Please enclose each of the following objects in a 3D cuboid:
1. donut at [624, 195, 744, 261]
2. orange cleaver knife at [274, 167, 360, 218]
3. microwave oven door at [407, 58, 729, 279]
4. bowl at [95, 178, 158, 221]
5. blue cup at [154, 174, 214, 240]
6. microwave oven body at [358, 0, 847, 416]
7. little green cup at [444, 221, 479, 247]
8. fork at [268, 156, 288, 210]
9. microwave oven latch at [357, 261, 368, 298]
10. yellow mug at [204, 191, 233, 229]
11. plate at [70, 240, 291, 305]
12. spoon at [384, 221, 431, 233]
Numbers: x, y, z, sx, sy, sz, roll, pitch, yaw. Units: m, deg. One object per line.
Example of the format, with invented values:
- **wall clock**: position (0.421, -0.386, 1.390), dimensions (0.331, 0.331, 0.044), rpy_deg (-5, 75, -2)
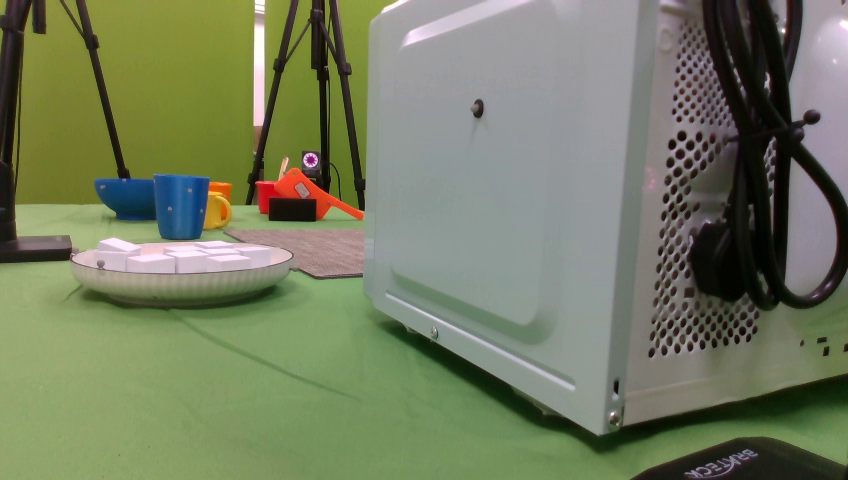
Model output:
- **donut**: position (0.221, -0.009, 0.519), dimensions (0.099, 0.048, 0.099), rpy_deg (13, 10, -2)
- **orange cleaver knife**: position (-0.238, -0.091, 1.381), dimensions (0.212, 0.077, 0.012), rpy_deg (31, 0, -19)
- **microwave oven door**: position (0.162, -0.084, 0.712), dimensions (0.356, 0.243, 0.039), rpy_deg (3, 8, 3)
- **bowl**: position (-0.576, -0.081, 1.217), dimensions (0.151, 0.077, 0.151), rpy_deg (3, 8, 0)
- **blue cup**: position (-0.391, -0.053, 0.978), dimensions (0.093, 0.100, 0.092), rpy_deg (3, 6, 0)
- **microwave oven body**: position (0.211, -0.047, 0.474), dimensions (0.444, 0.260, 0.324), rpy_deg (-1, 7, -28)
- **little green cup**: position (0.064, -0.011, 1.034), dimensions (0.061, 0.038, 0.061), rpy_deg (1, 9, 0)
- **fork**: position (-0.360, -0.144, 1.508), dimensions (0.028, 0.018, 0.207), rpy_deg (1, 49, 0)
- **microwave oven latch**: position (-0.019, 0.033, 0.529), dimensions (0.079, 0.029, 0.030), rpy_deg (0, 7, -25)
- **yellow mug**: position (-0.415, -0.057, 1.132), dimensions (0.130, 0.064, 0.100), rpy_deg (6, 8, 16)
- **plate**: position (-0.242, 0.031, 0.618), dimensions (0.208, 0.039, 0.207), rpy_deg (2, 8, 0)
- **spoon**: position (-0.024, -0.029, 1.188), dimensions (0.041, 0.021, 0.194), rpy_deg (-13, 0, 23)
